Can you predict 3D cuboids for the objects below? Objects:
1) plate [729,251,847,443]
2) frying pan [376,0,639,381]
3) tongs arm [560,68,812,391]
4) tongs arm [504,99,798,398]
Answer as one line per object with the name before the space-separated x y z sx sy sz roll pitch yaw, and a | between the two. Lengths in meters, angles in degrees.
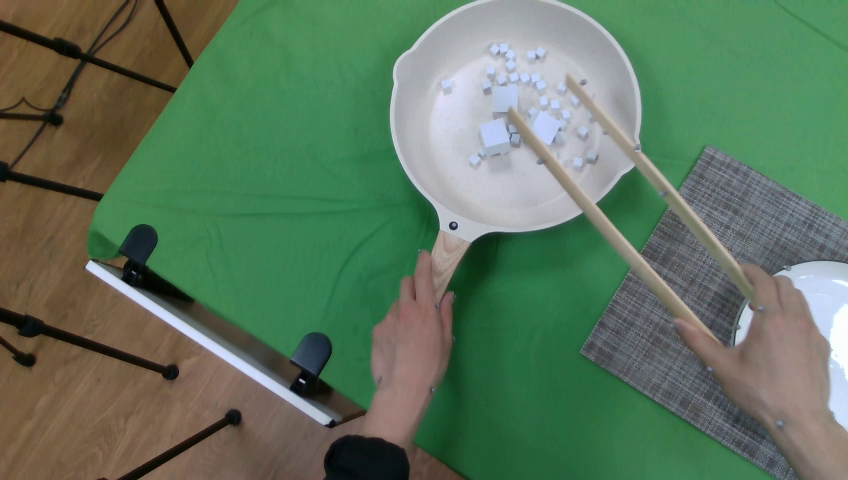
plate | 0.445 0.116 0.675 0.207 0.039 0.207 -1 80 5
frying pan | 0.059 -0.063 0.709 0.306 0.103 0.486 24 75 9
tongs arm | 0.238 -0.024 0.598 0.051 0.027 0.382 -33 71 -11
tongs arm | 0.201 -0.001 0.591 0.028 0.028 0.385 -33 71 -15
